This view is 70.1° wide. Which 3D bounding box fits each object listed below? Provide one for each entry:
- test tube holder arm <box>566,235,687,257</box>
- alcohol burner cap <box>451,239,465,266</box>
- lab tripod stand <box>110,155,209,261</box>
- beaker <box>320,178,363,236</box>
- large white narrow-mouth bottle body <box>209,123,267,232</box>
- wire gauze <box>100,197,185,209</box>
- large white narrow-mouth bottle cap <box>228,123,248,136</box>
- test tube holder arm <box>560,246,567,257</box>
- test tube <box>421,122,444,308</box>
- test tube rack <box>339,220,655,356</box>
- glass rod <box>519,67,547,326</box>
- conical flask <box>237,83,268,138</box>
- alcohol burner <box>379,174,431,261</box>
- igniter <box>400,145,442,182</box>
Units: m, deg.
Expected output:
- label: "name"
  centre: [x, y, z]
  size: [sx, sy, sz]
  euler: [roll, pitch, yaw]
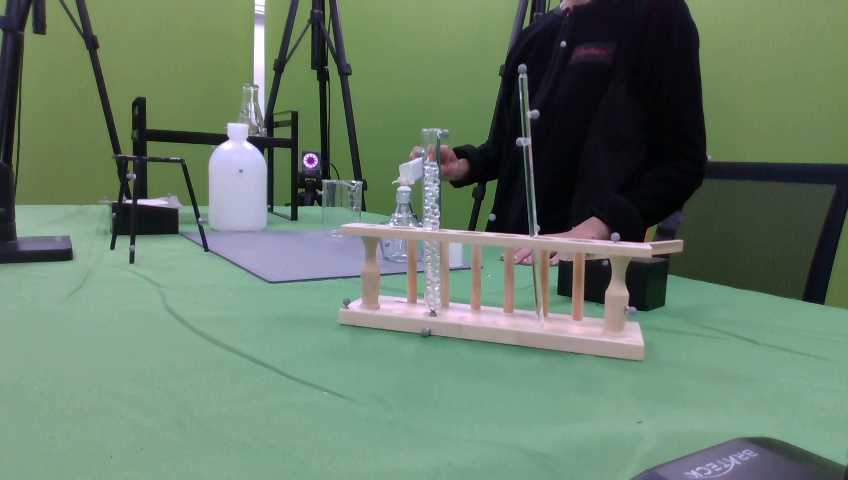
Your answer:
- label: "test tube holder arm"
  centre: [0.215, 0.006, 0.630]
  size: [0.179, 0.015, 0.013]
  euler: [-3, 9, -31]
- label: "alcohol burner cap"
  centre: [0.041, 0.010, 0.815]
  size: [0.034, 0.048, 0.034]
  euler: [4, 8, 0]
- label: "lab tripod stand"
  centre: [-0.361, -0.046, 0.806]
  size: [0.148, 0.131, 0.148]
  euler: [2, 5, 0]
- label: "beaker"
  centre: [-0.145, -0.059, 1.079]
  size: [0.074, 0.100, 0.083]
  euler: [-4, 10, -36]
- label: "large white narrow-mouth bottle body"
  centre: [-0.340, -0.115, 1.109]
  size: [0.102, 0.194, 0.102]
  euler: [2, 8, 0]
- label: "wire gauze"
  centre: [-0.469, -0.062, 1.008]
  size: [0.126, 0.011, 0.121]
  euler: [-2, 8, -25]
- label: "large white narrow-mouth bottle cap"
  centre: [-0.338, -0.200, 1.097]
  size: [0.038, 0.024, 0.037]
  euler: [2, 8, 0]
- label: "test tube holder arm"
  centre: [0.173, 0.007, 0.611]
  size: [0.088, 0.015, 0.010]
  euler: [-3, 9, -30]
- label: "test tube"
  centre: [0.007, -0.019, 0.486]
  size: [0.017, 0.150, 0.017]
  euler: [-1, 8, 0]
- label: "test tube rack"
  centre: [0.056, 0.032, 0.495]
  size: [0.242, 0.085, 0.067]
  euler: [4, 7, 15]
- label: "glass rod"
  centre: [0.084, -0.029, 0.458]
  size: [0.008, 0.199, 0.008]
  euler: [-6, 11, 2]
- label: "conical flask"
  centre: [-0.402, -0.299, 1.406]
  size: [0.075, 0.122, 0.075]
  euler: [2, 7, 0]
- label: "alcohol burner"
  centre: [-0.027, -0.031, 0.838]
  size: [0.078, 0.119, 0.078]
  euler: [0, 6, 0]
- label: "igniter"
  centre: [0.000, -0.123, 0.978]
  size: [0.025, 0.057, 0.277]
  euler: [-11, 9, 12]
